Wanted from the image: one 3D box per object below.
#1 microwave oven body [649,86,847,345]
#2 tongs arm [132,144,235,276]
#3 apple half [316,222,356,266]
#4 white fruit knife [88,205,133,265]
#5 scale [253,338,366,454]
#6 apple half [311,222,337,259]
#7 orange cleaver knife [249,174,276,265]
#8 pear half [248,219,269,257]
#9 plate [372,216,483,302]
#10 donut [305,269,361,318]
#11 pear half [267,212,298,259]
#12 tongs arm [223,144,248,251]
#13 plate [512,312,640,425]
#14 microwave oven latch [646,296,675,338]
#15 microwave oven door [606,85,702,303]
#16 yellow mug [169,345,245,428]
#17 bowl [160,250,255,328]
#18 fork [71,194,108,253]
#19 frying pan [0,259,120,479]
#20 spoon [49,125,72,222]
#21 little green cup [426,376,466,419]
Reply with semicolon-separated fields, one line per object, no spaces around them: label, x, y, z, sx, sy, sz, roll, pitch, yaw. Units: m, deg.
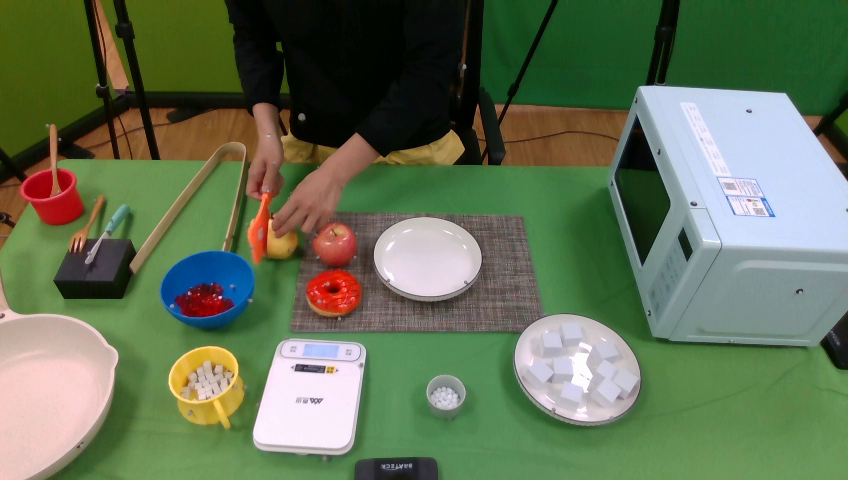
microwave oven body;0.567;-0.053;1.118;0.326;0.261;0.439;2;45;-1
tongs arm;-0.484;-0.074;1.237;0.028;0.028;0.385;4;45;14
apple half;-0.156;0.015;1.132;0.053;0.075;0.080;28;48;18
white fruit knife;-0.584;-0.013;1.129;0.016;0.027;0.206;-1;32;-4
scale;-0.175;0.236;0.951;0.149;0.032;0.199;5;45;-1
apple half;-0.191;-0.001;1.143;0.032;0.081;0.081;27;50;18
orange cleaver knife;-0.301;-0.042;1.148;0.012;0.077;0.210;-2;42;2
pear half;-0.314;-0.004;1.139;0.031;0.088;0.070;-16;49;4
plate;0.006;0.038;1.145;0.209;0.038;0.208;2;46;-2
donut;-0.161;0.094;1.075;0.099;0.048;0.098;3;45;-3
pear half;-0.266;-0.013;1.132;0.056;0.110;0.076;-3;52;-8
tongs arm;-0.398;-0.072;1.232;0.051;0.027;0.382;-4;45;1
plate;0.246;0.213;0.999;0.208;0.039;0.206;2;46;-2
microwave oven latch;0.412;0.134;1.061;0.030;0.029;0.078;4;45;1
microwave oven door;0.422;-0.094;1.140;0.039;0.245;0.353;2;46;-1
yellow mug;-0.322;0.230;0.922;0.100;0.064;0.130;-24;53;-25
bowl;-0.362;0.098;1.040;0.151;0.077;0.150;2;45;-2
fork;-0.634;-0.036;1.158;0.028;0.019;0.206;-7;31;-8
frying pan;-0.647;0.164;0.936;0.307;0.103;0.485;-19;58;-22
spoon;-0.718;-0.131;1.189;0.041;0.021;0.193;-4;90;-7
little green cup;0.033;0.248;0.950;0.061;0.039;0.061;2;46;-2
